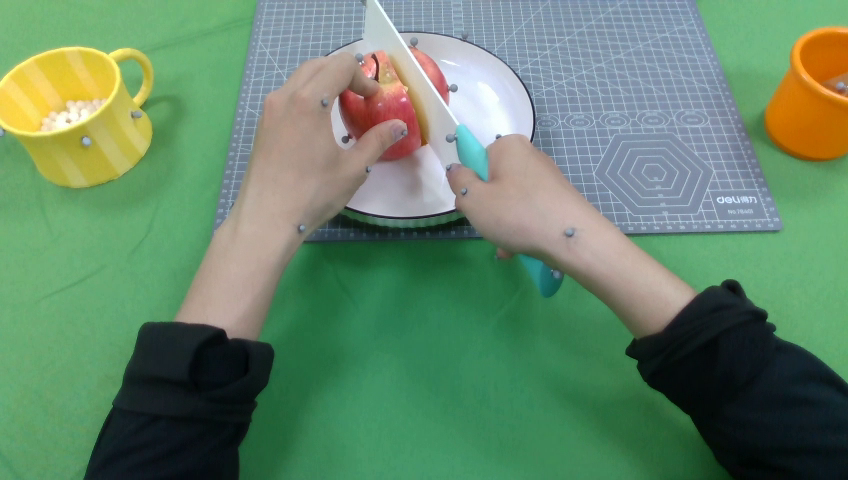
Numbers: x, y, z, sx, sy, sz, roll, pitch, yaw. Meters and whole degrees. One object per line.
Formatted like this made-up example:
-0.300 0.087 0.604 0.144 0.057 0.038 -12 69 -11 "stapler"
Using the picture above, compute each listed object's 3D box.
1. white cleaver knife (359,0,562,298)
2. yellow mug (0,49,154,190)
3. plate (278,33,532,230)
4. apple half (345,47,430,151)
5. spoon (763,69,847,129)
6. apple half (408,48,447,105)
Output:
0.017 -0.076 0.454 0.021 0.066 0.284 -22 65 -19 "white cleaver knife"
-0.282 -0.112 0.511 0.099 0.064 0.130 29 62 17 "yellow mug"
-0.015 -0.092 0.510 0.209 0.038 0.207 0 58 0 "plate"
-0.031 -0.104 0.483 0.053 0.075 0.080 -40 61 -5 "apple half"
0.369 -0.147 0.478 0.022 0.194 0.041 24 45 -37 "spoon"
-0.001 -0.118 0.496 0.033 0.082 0.080 -23 60 -19 "apple half"
